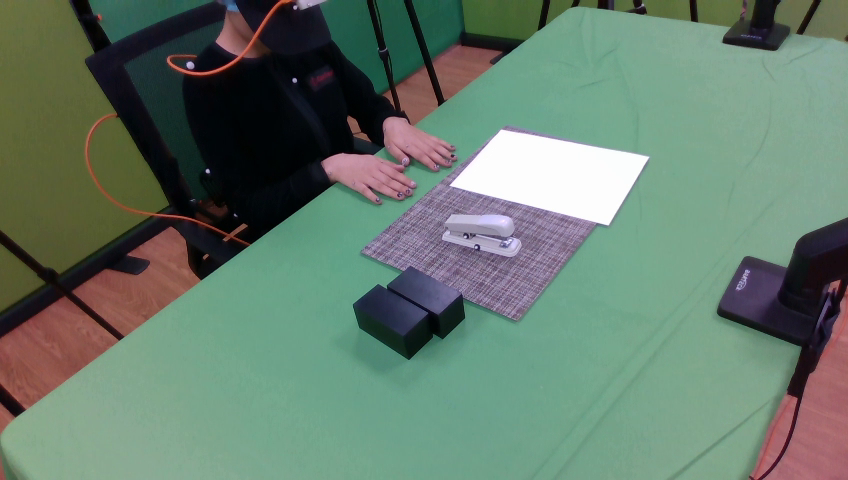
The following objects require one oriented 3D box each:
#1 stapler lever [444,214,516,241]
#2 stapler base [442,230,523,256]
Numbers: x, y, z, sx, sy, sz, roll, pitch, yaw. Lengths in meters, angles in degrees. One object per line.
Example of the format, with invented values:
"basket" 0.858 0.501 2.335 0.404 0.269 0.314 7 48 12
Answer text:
"stapler lever" 0.088 -0.026 0.952 0.117 0.040 0.027 13 42 27
"stapler base" 0.093 -0.007 0.967 0.129 0.024 0.041 13 42 27
